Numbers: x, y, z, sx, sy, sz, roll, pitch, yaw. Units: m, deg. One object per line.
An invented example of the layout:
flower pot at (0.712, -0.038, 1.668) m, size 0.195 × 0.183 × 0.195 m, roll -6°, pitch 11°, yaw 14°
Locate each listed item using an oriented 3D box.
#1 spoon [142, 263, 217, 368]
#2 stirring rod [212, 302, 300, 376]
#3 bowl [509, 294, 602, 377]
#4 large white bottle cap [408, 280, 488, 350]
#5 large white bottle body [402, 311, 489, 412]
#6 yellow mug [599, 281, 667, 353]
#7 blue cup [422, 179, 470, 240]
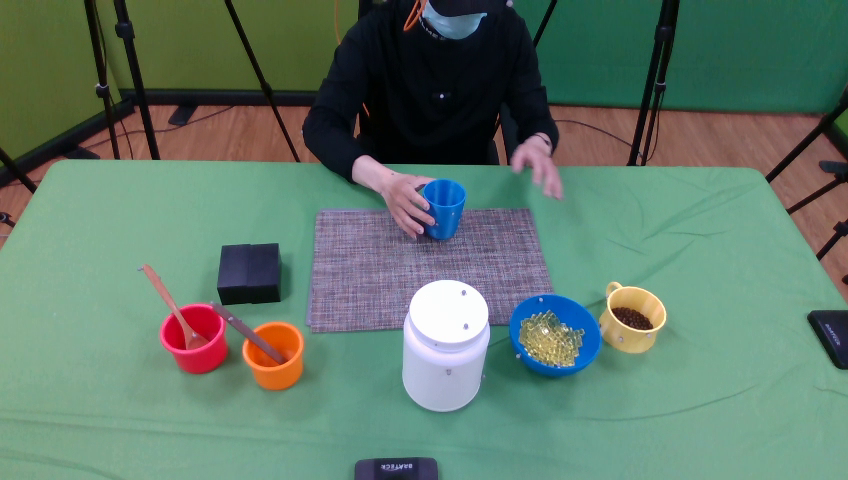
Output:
spoon at (-0.392, 0.120, 0.968) m, size 0.041 × 0.021 × 0.194 m, roll -33°, pitch 100°, yaw -30°
stirring rod at (-0.261, 0.156, 0.948) m, size 0.177 × 0.006 × 0.014 m, roll 45°, pitch 45°, yaw -20°
bowl at (0.211, 0.171, 1.007) m, size 0.151 × 0.077 × 0.150 m, roll 2°, pitch 46°, yaw -2°
large white bottle cap at (0.034, 0.105, 0.866) m, size 0.115 × 0.018 × 0.114 m, roll 2°, pitch 46°, yaw -1°
large white bottle body at (0.031, 0.163, 0.928) m, size 0.131 × 0.185 × 0.130 m, roll 2°, pitch 46°, yaw -2°
yellow mug at (0.359, 0.127, 1.069) m, size 0.100 × 0.064 × 0.130 m, roll -12°, pitch 47°, yaw -14°
blue cup at (0.036, -0.055, 1.192) m, size 0.093 × 0.101 × 0.092 m, roll 2°, pitch 44°, yaw -2°
